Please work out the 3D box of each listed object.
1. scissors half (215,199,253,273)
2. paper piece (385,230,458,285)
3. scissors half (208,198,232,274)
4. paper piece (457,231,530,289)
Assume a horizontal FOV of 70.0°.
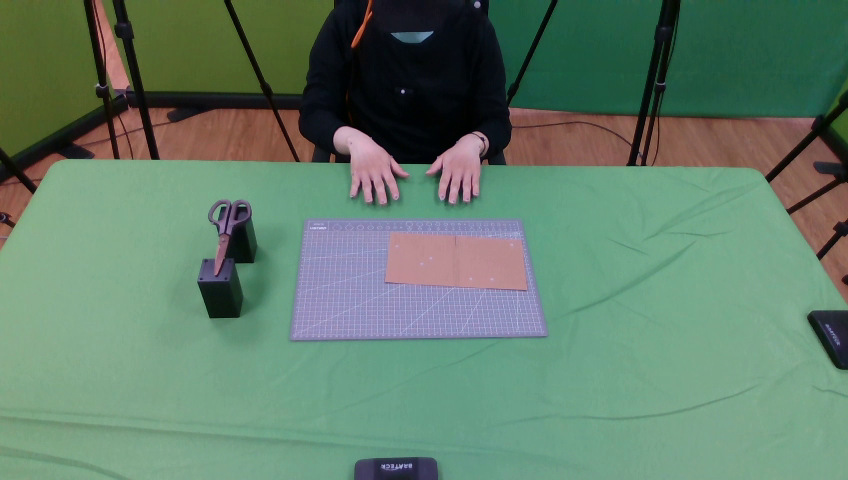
[{"bbox_3d":[-0.332,-0.009,1.049,0.040,0.013,0.174,7,48,1],"label":"scissors half"},{"bbox_3d":[-0.002,0.031,1.169,0.136,0.004,0.134,3,48,1],"label":"paper piece"},{"bbox_3d":[-0.352,-0.009,1.046,0.040,0.013,0.174,-3,49,-15],"label":"scissors half"},{"bbox_3d":[0.132,0.038,1.171,0.138,0.009,0.135,4,50,-1],"label":"paper piece"}]
